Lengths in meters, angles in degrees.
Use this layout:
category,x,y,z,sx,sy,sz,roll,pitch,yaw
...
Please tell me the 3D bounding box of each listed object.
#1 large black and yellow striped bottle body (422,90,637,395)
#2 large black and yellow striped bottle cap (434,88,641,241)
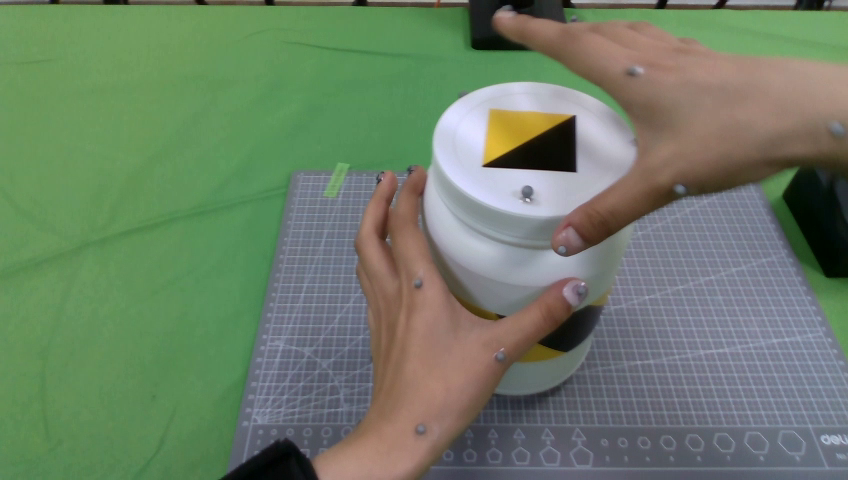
category,x,y,z,sx,sy,sz,roll,pitch,yaw
large black and yellow striped bottle body,0.064,0.007,0.406,0.131,0.185,0.129,0,50,0
large black and yellow striped bottle cap,0.063,-0.047,0.342,0.115,0.019,0.114,0,48,0
